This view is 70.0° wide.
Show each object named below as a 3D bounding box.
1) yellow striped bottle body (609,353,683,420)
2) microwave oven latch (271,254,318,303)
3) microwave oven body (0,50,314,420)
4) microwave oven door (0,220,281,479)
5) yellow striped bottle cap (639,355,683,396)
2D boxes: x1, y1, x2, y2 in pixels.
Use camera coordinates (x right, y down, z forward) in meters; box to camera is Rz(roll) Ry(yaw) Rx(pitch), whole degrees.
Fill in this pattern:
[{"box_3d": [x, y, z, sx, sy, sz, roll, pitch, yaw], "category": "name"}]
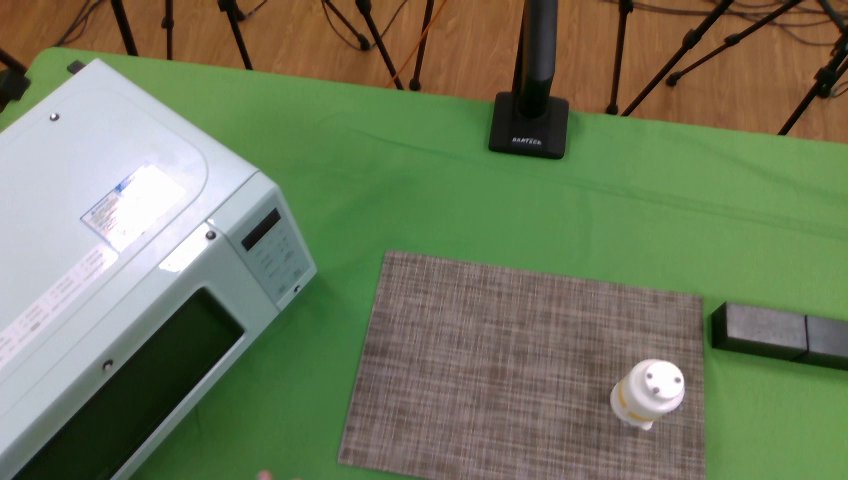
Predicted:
[{"box_3d": [0.269, 0.175, 0.731, 0.063, 0.121, 0.062, -1, 64, 1], "category": "yellow striped bottle body"}, {"box_3d": [-0.180, 0.047, 0.833, 0.030, 0.030, 0.079, 36, 71, 16], "category": "microwave oven latch"}, {"box_3d": [-0.409, 0.054, 0.727, 0.324, 0.262, 0.440, 34, 71, 16], "category": "microwave oven body"}, {"box_3d": [-0.318, 0.160, 0.669, 0.039, 0.245, 0.355, 34, 70, 17], "category": "microwave oven door"}, {"box_3d": [0.268, 0.152, 0.684, 0.044, 0.019, 0.044, -1, 66, 2], "category": "yellow striped bottle cap"}]
